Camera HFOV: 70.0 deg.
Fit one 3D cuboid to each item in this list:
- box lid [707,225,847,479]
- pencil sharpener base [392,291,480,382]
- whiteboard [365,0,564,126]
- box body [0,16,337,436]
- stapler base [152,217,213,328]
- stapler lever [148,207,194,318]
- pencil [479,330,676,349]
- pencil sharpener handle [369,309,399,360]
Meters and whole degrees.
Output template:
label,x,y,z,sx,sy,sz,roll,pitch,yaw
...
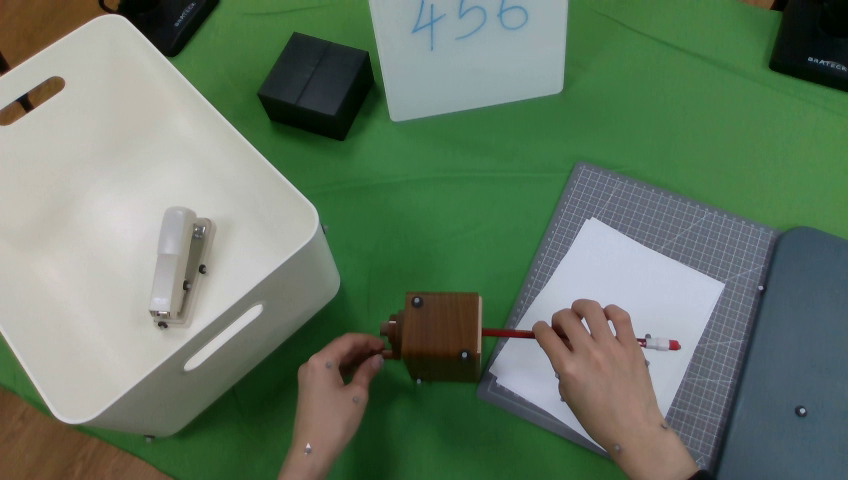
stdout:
label,x,y,z,sx,sy,sz,roll,pitch,yaw
box lid,0.426,0.174,0.566,0.262,0.015,0.370,22,69,12
pencil sharpener base,0.013,0.093,0.574,0.076,0.108,0.061,1,66,5
whiteboard,0.037,-0.313,0.684,0.217,0.308,0.142,-10,46,0
box body,-0.291,-0.015,0.611,0.254,0.161,0.361,-42,70,-14
stapler base,-0.265,0.030,0.659,0.041,0.024,0.129,2,67,7
stapler lever,-0.266,0.021,0.635,0.027,0.040,0.117,2,68,7
pencil,0.126,0.086,0.531,0.194,0.012,0.012,3,65,-3
pencil sharpener handle,-0.039,0.091,0.564,0.030,0.068,0.035,1,47,5
